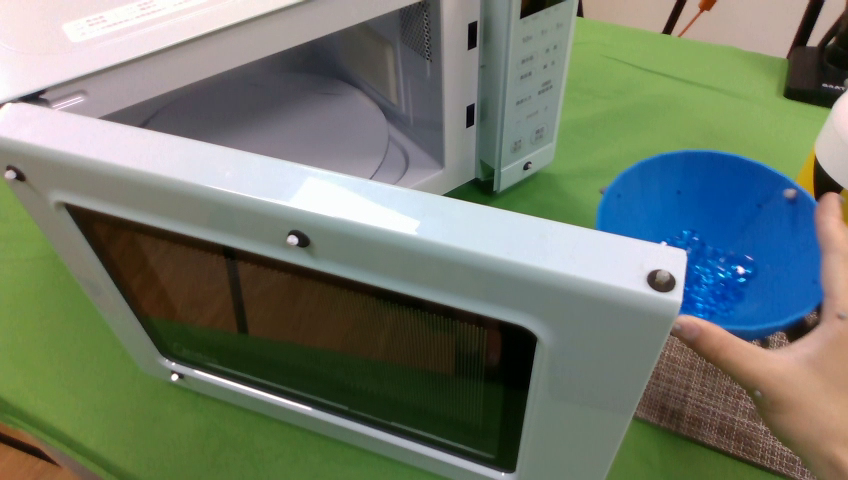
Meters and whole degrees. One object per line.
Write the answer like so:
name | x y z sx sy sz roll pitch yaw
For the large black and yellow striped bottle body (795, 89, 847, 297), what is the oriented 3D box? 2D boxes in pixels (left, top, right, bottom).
large black and yellow striped bottle body | 0.389 -0.053 0.501 0.131 0.186 0.129 -1 47 2

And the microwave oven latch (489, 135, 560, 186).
microwave oven latch | 0.104 -0.087 0.627 0.079 0.030 0.030 -28 52 -21

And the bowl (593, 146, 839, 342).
bowl | 0.191 0.014 0.424 0.151 0.077 0.150 -3 53 4

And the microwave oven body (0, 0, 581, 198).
microwave oven body | -0.130 -0.159 0.572 0.442 0.262 0.322 -29 53 -22

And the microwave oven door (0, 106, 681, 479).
microwave oven door | -0.059 0.054 0.363 0.354 0.246 0.039 13 49 15
